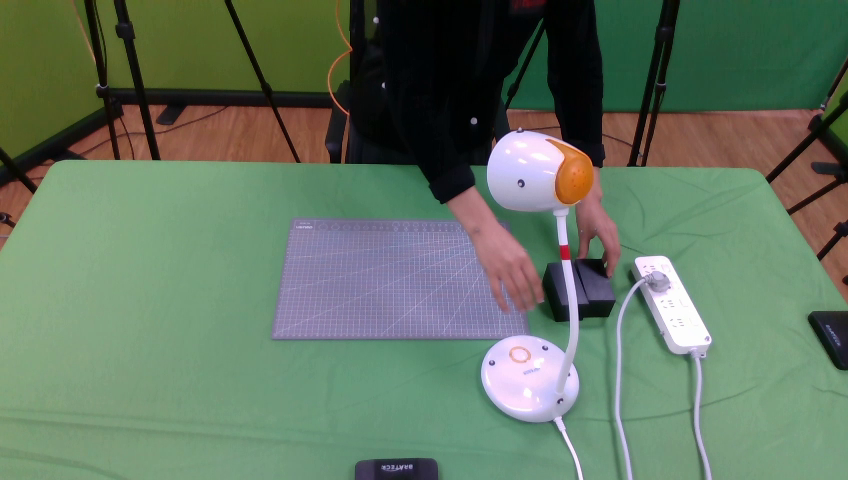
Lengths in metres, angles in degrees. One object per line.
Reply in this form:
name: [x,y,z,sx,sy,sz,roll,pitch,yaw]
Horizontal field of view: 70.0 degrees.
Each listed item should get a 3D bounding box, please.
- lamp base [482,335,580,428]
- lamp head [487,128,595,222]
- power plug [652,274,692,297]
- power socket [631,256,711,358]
lamp base: [0.185,0.177,0.928,0.161,0.181,0.178,-22,53,-23]
lamp head: [0.160,-0.084,0.791,0.112,0.113,0.122,-24,28,-25]
power plug: [0.446,0.093,1.102,0.035,0.053,0.072,-27,56,-6]
power socket: [0.449,0.114,1.112,0.072,0.033,0.225,-4,47,-6]
